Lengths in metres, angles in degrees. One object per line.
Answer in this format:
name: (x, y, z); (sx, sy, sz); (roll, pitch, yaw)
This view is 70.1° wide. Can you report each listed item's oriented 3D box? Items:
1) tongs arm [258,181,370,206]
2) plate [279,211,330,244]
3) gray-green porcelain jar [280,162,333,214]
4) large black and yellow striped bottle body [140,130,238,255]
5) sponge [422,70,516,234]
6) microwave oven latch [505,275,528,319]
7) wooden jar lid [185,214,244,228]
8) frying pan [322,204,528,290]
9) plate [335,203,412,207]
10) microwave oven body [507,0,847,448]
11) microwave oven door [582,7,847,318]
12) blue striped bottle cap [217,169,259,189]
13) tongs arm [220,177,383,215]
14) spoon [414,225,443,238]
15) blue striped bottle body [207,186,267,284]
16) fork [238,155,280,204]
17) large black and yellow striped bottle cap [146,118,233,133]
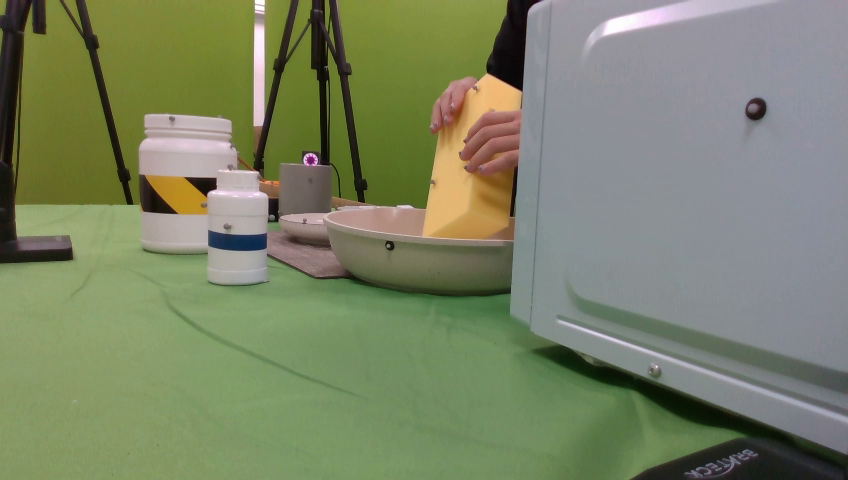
tongs arm: (-0.241, -0.095, 1.373); (0.387, 0.026, 0.050); (9, -1, -37)
plate: (-0.139, -0.022, 1.021); (0.209, 0.038, 0.209); (2, 8, 0)
gray-green porcelain jar: (-0.238, -0.092, 1.221); (0.106, 0.126, 0.106); (2, 7, 0)
large black and yellow striped bottle body: (-0.336, -0.078, 0.871); (0.131, 0.184, 0.130); (2, 8, 0)
sponge: (0.064, -0.105, 0.803); (0.061, 0.206, 0.118); (20, -28, -22)
microwave oven latch: (0.100, 0.042, 0.471); (0.079, 0.029, 0.030); (-1, 7, -28)
wooden jar lid: (-0.404, -0.037, 1.169); (0.108, 0.020, 0.108); (3, 7, 0)
frying pan: (0.109, -0.017, 0.801); (0.490, 0.102, 0.305); (-12, 16, -30)
plate: (-0.089, -0.053, 1.309); (0.208, 0.039, 0.207); (2, 8, 0)
microwave oven body: (0.331, -0.042, 0.425); (0.444, 0.260, 0.324); (-2, 8, -31)
microwave oven door: (0.295, -0.067, 0.569); (0.358, 0.243, 0.039); (-3, 8, -31)
blue striped bottle cap: (-0.202, -0.067, 0.656); (0.044, 0.020, 0.044); (0, 10, 0)
tongs arm: (-0.285, -0.103, 1.445); (0.389, 0.027, 0.028); (9, -4, -23)
spoon: (0.017, -0.020, 1.113); (0.041, 0.021, 0.194); (-14, 3, 11)
blue striped bottle body: (-0.204, -0.016, 0.663); (0.063, 0.120, 0.063); (2, 7, 0)
fork: (-0.396, -0.143, 1.486); (0.028, 0.018, 0.208); (19, -26, 44)
large black and yellow striped bottle cap: (-0.333, -0.163, 0.861); (0.115, 0.019, 0.115); (1, 9, 0)
